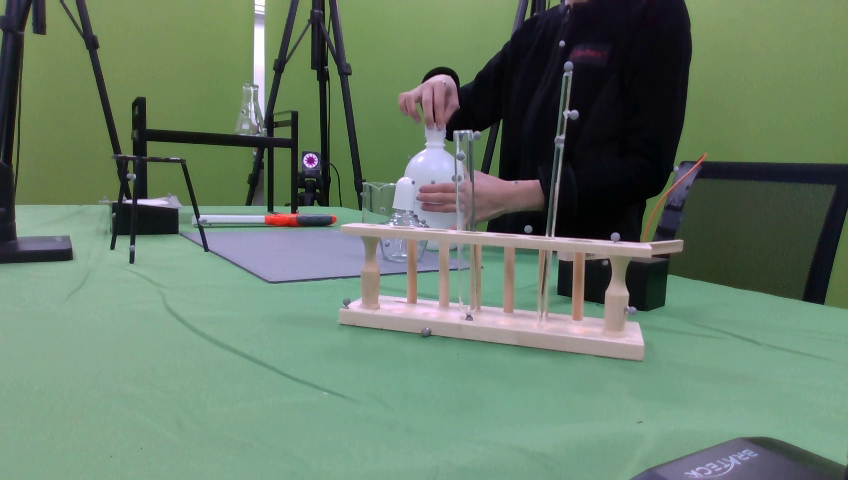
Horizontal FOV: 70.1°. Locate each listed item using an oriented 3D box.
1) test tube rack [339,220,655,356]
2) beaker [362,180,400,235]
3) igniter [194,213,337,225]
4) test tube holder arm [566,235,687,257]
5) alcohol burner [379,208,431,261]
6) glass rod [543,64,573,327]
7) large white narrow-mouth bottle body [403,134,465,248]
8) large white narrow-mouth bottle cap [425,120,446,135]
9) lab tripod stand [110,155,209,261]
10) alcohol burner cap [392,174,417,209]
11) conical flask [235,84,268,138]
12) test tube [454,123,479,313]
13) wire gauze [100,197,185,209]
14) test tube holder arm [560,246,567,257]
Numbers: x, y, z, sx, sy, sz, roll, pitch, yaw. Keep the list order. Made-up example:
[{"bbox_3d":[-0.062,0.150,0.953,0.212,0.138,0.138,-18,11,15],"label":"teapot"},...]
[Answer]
[{"bbox_3d":[0.056,0.032,0.495,0.242,0.085,0.067,4,7,15],"label":"test tube rack"},{"bbox_3d":[-0.080,-0.062,1.142,0.074,0.100,0.084,2,8,1],"label":"beaker"},{"bbox_3d":[-0.306,-0.042,1.196,0.278,0.025,0.057,-2,-2,-31],"label":"igniter"},{"bbox_3d":[0.215,0.006,0.630,0.179,0.015,0.013,-3,9,-31],"label":"test tube holder arm"},{"bbox_3d":[-0.027,-0.031,0.838,0.078,0.119,0.078,0,6,0],"label":"alcohol burner"},{"bbox_3d":[0.101,-0.028,0.453,0.008,0.199,0.008,2,14,0],"label":"glass rod"},{"bbox_3d":[0.018,-0.088,1.001,0.102,0.194,0.102,1,8,0],"label":"large white narrow-mouth bottle body"},{"bbox_3d":[0.019,-0.183,0.988,0.038,0.024,0.037,1,8,0],"label":"large white narrow-mouth bottle cap"},{"bbox_3d":[-0.361,-0.046,0.806,0.148,0.131,0.148,2,5,0],"label":"lab tripod stand"},{"bbox_3d":[-0.025,-0.067,0.834,0.034,0.048,0.034,9,7,-1],"label":"alcohol burner cap"},{"bbox_3d":[-0.402,-0.299,1.406,0.075,0.122,0.075,2,7,0],"label":"conical flask"},{"bbox_3d":[0.034,-0.016,0.477,0.017,0.150,0.017,-2,9,1],"label":"test tube"},{"bbox_3d":[-0.469,-0.062,1.008,0.126,0.011,0.121,-2,8,-25],"label":"wire gauze"},{"bbox_3d":[0.173,0.007,0.611,0.088,0.015,0.010,-3,9,-30],"label":"test tube holder arm"}]
